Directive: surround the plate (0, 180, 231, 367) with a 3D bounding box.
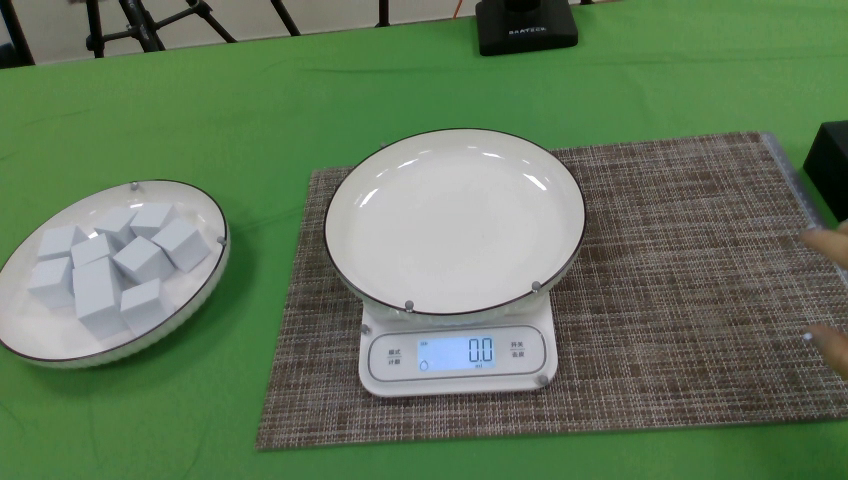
[{"bbox_3d":[-0.273,0.028,0.547,0.209,0.038,0.207,-4,47,5],"label":"plate"}]

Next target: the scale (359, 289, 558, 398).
[{"bbox_3d":[0.025,0.031,0.497,0.148,0.032,0.199,-4,48,6],"label":"scale"}]

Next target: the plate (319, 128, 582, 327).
[{"bbox_3d":[0.021,-0.012,0.492,0.207,0.039,0.205,-4,48,4],"label":"plate"}]
